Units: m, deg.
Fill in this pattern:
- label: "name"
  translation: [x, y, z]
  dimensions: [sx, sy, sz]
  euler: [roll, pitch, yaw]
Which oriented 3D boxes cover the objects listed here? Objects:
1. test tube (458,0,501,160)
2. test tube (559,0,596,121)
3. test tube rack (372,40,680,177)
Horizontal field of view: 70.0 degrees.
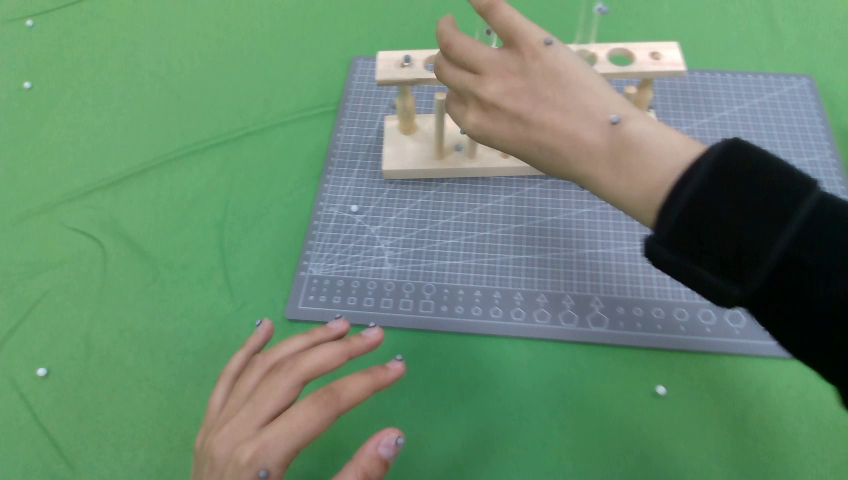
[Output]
- label: "test tube"
  translation: [0.041, -0.119, 0.465]
  dimensions: [0.017, 0.152, 0.017]
  euler: [2, 53, -2]
- label: "test tube"
  translation: [0.122, -0.154, 0.478]
  dimensions: [0.017, 0.151, 0.017]
  euler: [-2, 52, 3]
- label: "test tube rack"
  translation: [0.081, -0.109, 0.510]
  dimensions: [0.242, 0.086, 0.066]
  euler: [-2, 57, 1]
